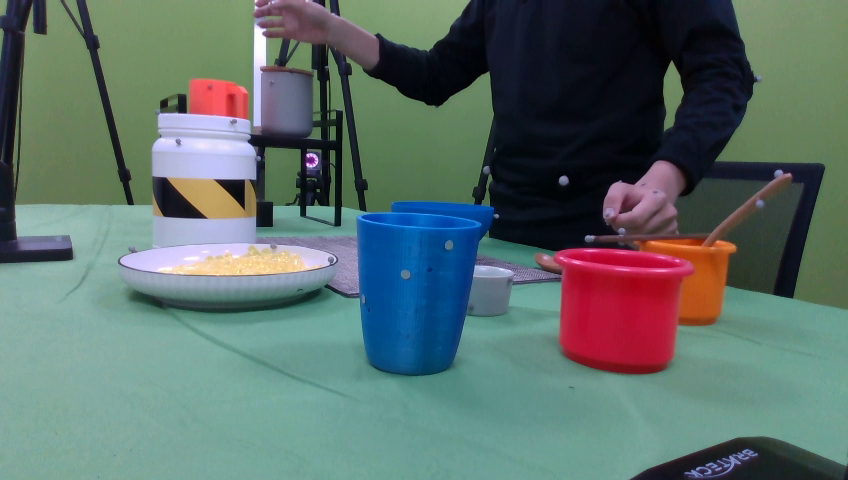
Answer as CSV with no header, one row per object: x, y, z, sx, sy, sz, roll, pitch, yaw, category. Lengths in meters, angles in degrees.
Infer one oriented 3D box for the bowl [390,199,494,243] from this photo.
0.024,-0.015,0.872,0.151,0.077,0.151,3,7,0,bowl

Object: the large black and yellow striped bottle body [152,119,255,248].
-0.296,-0.070,0.819,0.131,0.184,0.130,2,7,0,large black and yellow striped bottle body

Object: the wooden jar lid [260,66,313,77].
-0.282,-0.339,1.245,0.108,0.020,0.108,5,9,-1,wooden jar lid

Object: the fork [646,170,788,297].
0.256,0.004,0.543,0.028,0.018,0.207,3,-36,-9,fork

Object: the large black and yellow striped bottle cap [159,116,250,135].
-0.292,-0.153,0.810,0.115,0.019,0.115,3,8,0,large black and yellow striped bottle cap

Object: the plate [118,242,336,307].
-0.194,0.033,0.615,0.209,0.038,0.209,2,7,0,plate

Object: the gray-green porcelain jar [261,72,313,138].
-0.284,-0.276,1.253,0.106,0.126,0.106,2,8,0,gray-green porcelain jar

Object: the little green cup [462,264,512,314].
0.053,0.047,0.580,0.061,0.038,0.061,3,8,0,little green cup

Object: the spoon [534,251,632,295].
0.193,0.038,0.754,0.042,0.021,0.193,14,2,-21,spoon

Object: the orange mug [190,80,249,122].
-0.393,-0.257,1.173,0.126,0.100,0.084,1,6,25,orange mug

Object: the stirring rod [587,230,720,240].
0.226,-0.006,0.586,0.177,0.006,0.014,-2,8,-29,stirring rod

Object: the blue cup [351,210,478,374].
-0.009,0.034,0.414,0.093,0.100,0.092,4,8,0,blue cup
